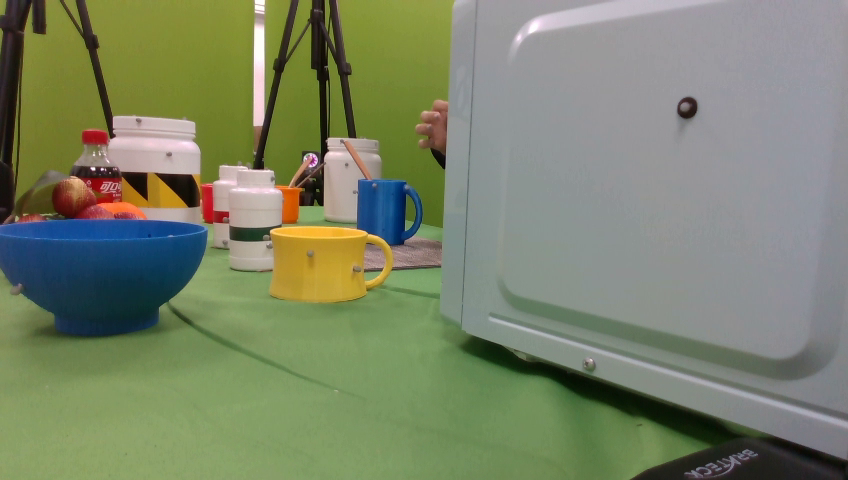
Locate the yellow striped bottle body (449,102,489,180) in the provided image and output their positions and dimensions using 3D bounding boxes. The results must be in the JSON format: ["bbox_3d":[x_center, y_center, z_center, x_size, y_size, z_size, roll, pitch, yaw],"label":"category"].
[{"bbox_3d":[0.071,-0.157,0.956,0.063,0.120,0.063,-1,10,1],"label":"yellow striped bottle body"}]

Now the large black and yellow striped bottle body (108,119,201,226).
[{"bbox_3d":[-0.412,-0.088,0.930,0.131,0.184,0.130,3,7,0],"label":"large black and yellow striped bottle body"}]

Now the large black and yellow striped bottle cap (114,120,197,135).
[{"bbox_3d":[-0.407,-0.171,0.920,0.115,0.019,0.115,2,9,0],"label":"large black and yellow striped bottle cap"}]

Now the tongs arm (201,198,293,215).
[{"bbox_3d":[-0.423,-0.084,1.472,0.050,0.026,0.386,2,6,21],"label":"tongs arm"}]

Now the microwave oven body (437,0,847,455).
[{"bbox_3d":[0.279,-0.040,0.464,0.444,0.260,0.324,-3,9,-41],"label":"microwave oven body"}]

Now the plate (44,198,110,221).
[{"bbox_3d":[-0.617,-0.056,1.179,0.209,0.038,0.209,3,7,0],"label":"plate"}]

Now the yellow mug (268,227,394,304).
[{"bbox_3d":[-0.094,0.023,0.629,0.131,0.064,0.099,0,7,-22],"label":"yellow mug"}]

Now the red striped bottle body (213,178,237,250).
[{"bbox_3d":[-0.284,-0.048,0.909,0.063,0.119,0.063,3,10,0],"label":"red striped bottle body"}]

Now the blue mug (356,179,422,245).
[{"bbox_3d":[-0.057,-0.047,1.006,0.116,0.106,0.082,5,8,20],"label":"blue mug"}]

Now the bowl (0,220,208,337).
[{"bbox_3d":[-0.251,0.029,0.479,0.151,0.077,0.151,2,7,0],"label":"bowl"}]

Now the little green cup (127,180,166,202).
[{"bbox_3d":[-0.485,-0.087,1.062,0.061,0.038,0.061,0,6,0],"label":"little green cup"}]

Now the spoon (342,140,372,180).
[{"bbox_3d":[-0.093,-0.094,1.024,0.021,0.193,0.042,-37,-18,37],"label":"spoon"}]

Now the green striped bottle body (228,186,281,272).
[{"bbox_3d":[-0.208,-0.023,0.745,0.063,0.119,0.063,2,7,0],"label":"green striped bottle body"}]

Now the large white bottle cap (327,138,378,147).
[{"bbox_3d":[-0.160,-0.218,1.357,0.115,0.018,0.115,2,8,0],"label":"large white bottle cap"}]

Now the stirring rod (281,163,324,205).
[{"bbox_3d":[-0.278,-0.105,1.293,0.176,0.006,0.014,-47,24,-18],"label":"stirring rod"}]

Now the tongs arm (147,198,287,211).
[{"bbox_3d":[-0.504,-0.091,1.513,0.028,0.028,0.389,0,4,37],"label":"tongs arm"}]

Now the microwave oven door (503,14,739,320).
[{"bbox_3d":[0.217,-0.065,0.601,0.358,0.243,0.039,-4,10,-41],"label":"microwave oven door"}]

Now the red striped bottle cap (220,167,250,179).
[{"bbox_3d":[-0.281,-0.100,0.901,0.044,0.017,0.044,-1,5,0],"label":"red striped bottle cap"}]

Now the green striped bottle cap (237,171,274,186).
[{"bbox_3d":[-0.205,-0.075,0.738,0.044,0.020,0.044,2,7,0],"label":"green striped bottle cap"}]

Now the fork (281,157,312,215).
[{"bbox_3d":[-0.289,-0.116,1.321,0.028,0.019,0.207,6,51,19],"label":"fork"}]

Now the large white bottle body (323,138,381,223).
[{"bbox_3d":[-0.163,-0.135,1.368,0.131,0.184,0.130,2,7,0],"label":"large white bottle body"}]

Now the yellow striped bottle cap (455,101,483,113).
[{"bbox_3d":[0.070,-0.208,0.947,0.044,0.018,0.044,-2,12,1],"label":"yellow striped bottle cap"}]

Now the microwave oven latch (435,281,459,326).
[{"bbox_3d":[0.044,0.045,0.470,0.079,0.029,0.030,-3,8,-40],"label":"microwave oven latch"}]
